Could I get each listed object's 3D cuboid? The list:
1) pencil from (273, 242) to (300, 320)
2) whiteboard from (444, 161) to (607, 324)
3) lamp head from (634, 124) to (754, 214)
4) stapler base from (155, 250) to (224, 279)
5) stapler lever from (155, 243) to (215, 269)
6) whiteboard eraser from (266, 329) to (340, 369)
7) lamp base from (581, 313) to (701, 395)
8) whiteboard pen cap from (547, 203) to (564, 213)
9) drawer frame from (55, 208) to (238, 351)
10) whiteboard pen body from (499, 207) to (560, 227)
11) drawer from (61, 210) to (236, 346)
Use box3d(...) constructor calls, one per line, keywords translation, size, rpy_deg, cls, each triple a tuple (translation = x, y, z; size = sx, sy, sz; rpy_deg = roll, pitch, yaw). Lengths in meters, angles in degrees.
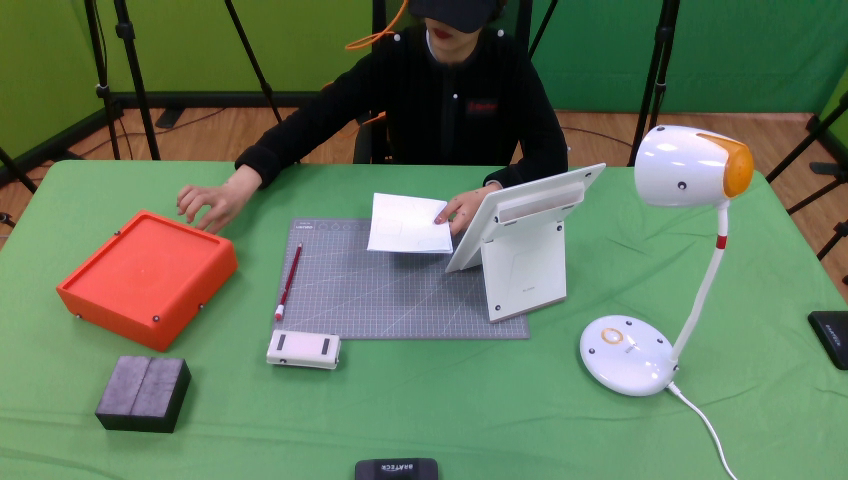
box3d(translation=(-0.249, 0.071, 1.115), size=(0.012, 0.012, 0.193), rpy_deg=(5, 43, 1), cls="pencil")
box3d(translation=(0.186, 0.025, 1.029), size=(0.217, 0.306, 0.143), rpy_deg=(-15, 68, -18), cls="whiteboard")
box3d(translation=(0.351, -0.089, 0.776), size=(0.112, 0.113, 0.122), rpy_deg=(-30, 30, -28), cls="lamp head")
box3d(translation=(-0.431, 0.040, 1.110), size=(0.130, 0.024, 0.041), rpy_deg=(11, 38, 17), cls="stapler base")
box3d(translation=(-0.433, 0.023, 1.097), size=(0.118, 0.040, 0.026), rpy_deg=(14, 39, 14), cls="stapler lever")
box3d(translation=(-0.198, 0.181, 0.994), size=(0.113, 0.042, 0.055), rpy_deg=(5, 45, 1), cls="whiteboard eraser")
box3d(translation=(0.361, 0.144, 0.973), size=(0.178, 0.181, 0.160), rpy_deg=(34, 53, 23), cls="lamp base")
box3d(translation=(0.277, -0.066, 1.275), size=(0.033, 0.018, 0.018), rpy_deg=(-18, 50, -15), cls="whiteboard pen cap")
box3d(translation=(-0.474, 0.062, 1.059), size=(0.201, 0.083, 0.213), rpy_deg=(18, 48, 12), cls="drawer frame")
box3d(translation=(0.222, -0.051, 1.260), size=(0.141, 0.017, 0.017), rpy_deg=(-15, 49, -16), cls="whiteboard pen body")
box3d(translation=(-0.474, 0.061, 1.062), size=(0.194, 0.073, 0.211), rpy_deg=(19, 48, 13), cls="drawer")
